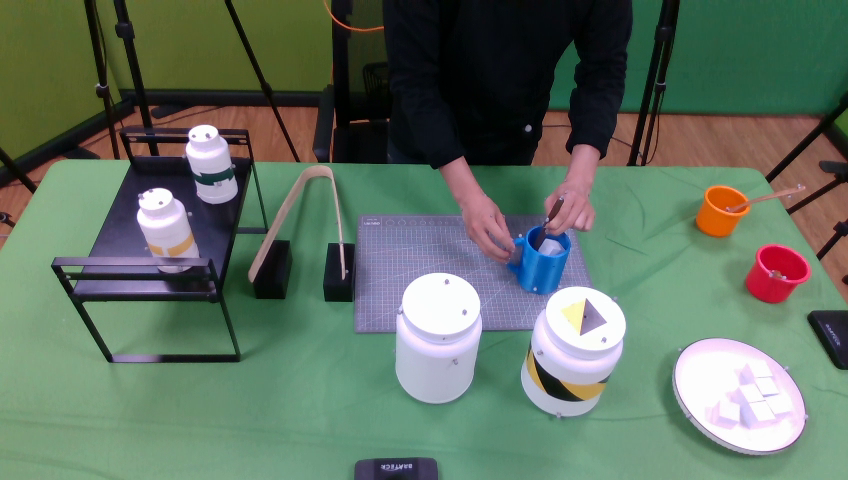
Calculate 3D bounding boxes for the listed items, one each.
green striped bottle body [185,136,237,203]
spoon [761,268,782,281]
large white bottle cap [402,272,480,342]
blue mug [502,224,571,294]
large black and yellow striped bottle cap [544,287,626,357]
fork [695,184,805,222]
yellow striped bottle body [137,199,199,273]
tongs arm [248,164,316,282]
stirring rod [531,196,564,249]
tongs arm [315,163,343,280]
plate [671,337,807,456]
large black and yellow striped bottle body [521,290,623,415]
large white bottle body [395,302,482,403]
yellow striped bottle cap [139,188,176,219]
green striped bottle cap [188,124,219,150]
[{"bbox_3d":[-0.341,-0.122,0.968,0.063,0.120,0.063,2,46,-2],"label":"green striped bottle body"},{"bbox_3d":[0.638,0.060,1.105,0.041,0.021,0.194,38,11,24],"label":"spoon"},{"bbox_3d":[0.024,0.095,0.878,0.115,0.018,0.114,2,47,-2],"label":"large white bottle cap"},{"bbox_3d":[0.202,0.032,1.120,0.116,0.106,0.082,10,47,6],"label":"blue mug"},{"bbox_3d":[0.232,0.116,0.876,0.115,0.019,0.114,2,46,-1],"label":"large black and yellow striped bottle cap"},{"bbox_3d":[0.657,-0.075,1.230,0.207,0.019,0.028,-23,32,37],"label":"fork"},{"bbox_3d":[-0.366,-0.014,0.863,0.063,0.121,0.062,2,46,-2],"label":"yellow striped bottle body"},{"bbox_3d":[-0.269,-0.048,1.165,0.028,0.028,0.385,0,34,7],"label":"tongs arm"},{"bbox_3d":[0.211,-0.015,1.089,0.014,0.177,0.006,-8,52,-25],"label":"stirring rod"},{"bbox_3d":[-0.187,-0.049,1.170,0.051,0.026,0.382,-5,35,-6],"label":"tongs arm"},{"bbox_3d":[0.503,0.254,0.984,0.208,0.039,0.206,2,46,-2],"label":"plate"},{"bbox_3d":[0.228,0.173,0.938,0.131,0.185,0.130,2,47,-2],"label":"large black and yellow striped bottle body"},{"bbox_3d":[0.020,0.153,0.939,0.131,0.185,0.130,2,46,-2],"label":"large white bottle body"},{"bbox_3d":[-0.363,-0.050,0.826,0.044,0.019,0.044,1,47,0],"label":"yellow striped bottle cap"},{"bbox_3d":[-0.339,-0.158,0.931,0.044,0.020,0.044,3,47,-3],"label":"green striped bottle cap"}]
